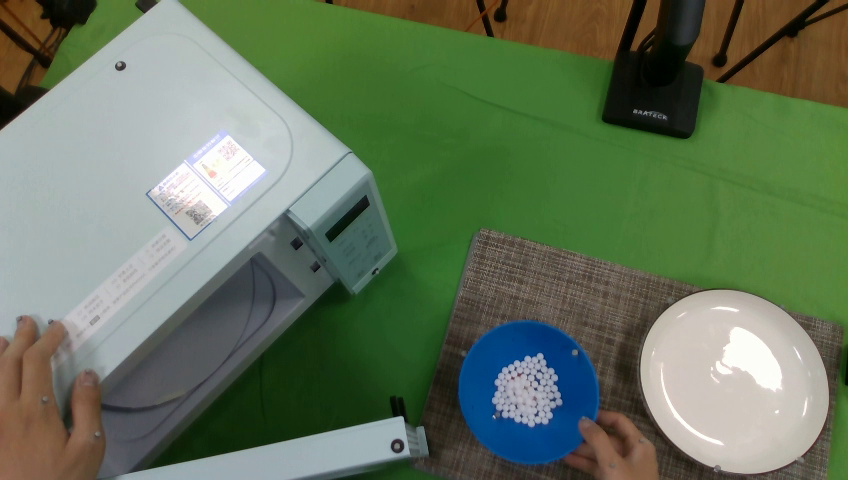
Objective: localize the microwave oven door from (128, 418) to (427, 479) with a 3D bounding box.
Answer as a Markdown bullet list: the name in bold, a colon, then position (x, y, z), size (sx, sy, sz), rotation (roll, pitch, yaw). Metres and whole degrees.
- **microwave oven door**: position (-0.180, 0.221, 0.579), size (0.356, 0.245, 0.039), rotation (-12, 71, -1)

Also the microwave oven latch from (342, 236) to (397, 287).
- **microwave oven latch**: position (-0.068, 0.020, 0.747), size (0.079, 0.030, 0.030), rotation (-44, 75, -10)

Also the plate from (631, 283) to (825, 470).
- **plate**: position (0.341, 0.154, 0.694), size (0.207, 0.039, 0.206), rotation (-1, 72, 3)

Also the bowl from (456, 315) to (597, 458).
- **bowl**: position (0.111, 0.166, 0.682), size (0.151, 0.077, 0.150), rotation (-1, 72, 3)

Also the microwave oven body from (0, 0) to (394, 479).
- **microwave oven body**: position (-0.304, 0.019, 0.660), size (0.324, 0.262, 0.441), rotation (42, 79, 15)
